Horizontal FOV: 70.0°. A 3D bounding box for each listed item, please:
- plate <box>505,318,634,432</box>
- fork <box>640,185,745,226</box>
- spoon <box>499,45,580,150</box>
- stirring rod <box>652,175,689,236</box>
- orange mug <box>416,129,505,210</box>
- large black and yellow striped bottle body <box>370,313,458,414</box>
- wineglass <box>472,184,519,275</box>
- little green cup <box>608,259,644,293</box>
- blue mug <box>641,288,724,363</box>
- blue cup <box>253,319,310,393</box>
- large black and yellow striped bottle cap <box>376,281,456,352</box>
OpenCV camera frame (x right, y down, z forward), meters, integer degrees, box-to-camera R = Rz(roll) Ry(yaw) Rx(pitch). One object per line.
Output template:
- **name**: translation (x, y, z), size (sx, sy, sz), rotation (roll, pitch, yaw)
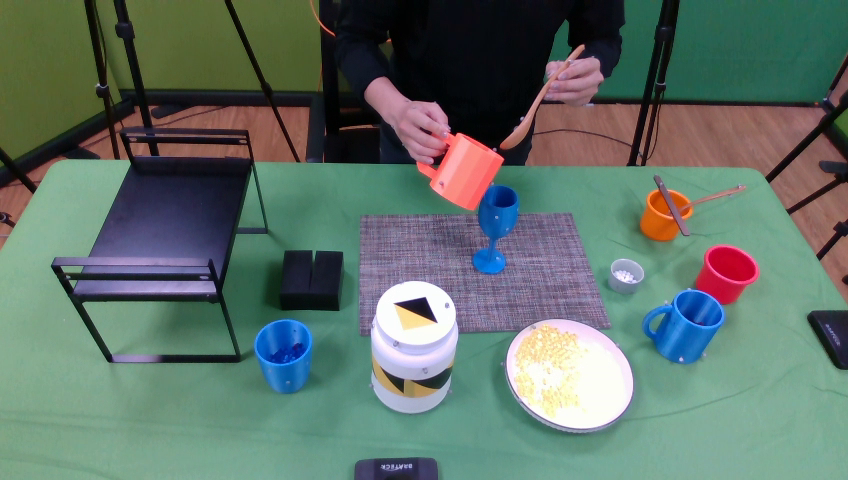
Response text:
- **plate**: translation (0.235, 0.221, 0.991), size (0.209, 0.038, 0.208), rotation (2, 46, -2)
- **fork**: translation (0.534, -0.069, 1.215), size (0.207, 0.019, 0.028), rotation (-26, 27, 33)
- **spoon**: translation (0.178, -0.219, 0.939), size (0.021, 0.194, 0.042), rotation (40, 17, 28)
- **stirring rod**: translation (0.491, -0.072, 1.211), size (0.014, 0.006, 0.175), rotation (-1, 46, -6)
- **orange mug**: translation (0.055, -0.121, 0.975), size (0.126, 0.101, 0.083), rotation (36, 16, 5)
- **large black and yellow striped bottle body**: translation (-0.017, 0.165, 0.924), size (0.131, 0.185, 0.130), rotation (2, 46, -2)
- **wineglass**: translation (0.129, -0.018, 1.113), size (0.074, 0.173, 0.073), rotation (2, 46, -2)
- **little green cup**: translation (0.379, 0.070, 1.147), size (0.061, 0.039, 0.061), rotation (3, 45, -3)
- **blue mug**: translation (0.432, 0.144, 1.033), size (0.116, 0.106, 0.082), rotation (8, 46, 5)
- **blue cup**: translation (-0.217, 0.187, 0.943), size (0.093, 0.101, 0.092), rotation (4, 45, -3)
- **large black and yellow striped bottle cap**: translation (-0.011, 0.107, 0.863), size (0.115, 0.019, 0.114), rotation (2, 47, -2)
